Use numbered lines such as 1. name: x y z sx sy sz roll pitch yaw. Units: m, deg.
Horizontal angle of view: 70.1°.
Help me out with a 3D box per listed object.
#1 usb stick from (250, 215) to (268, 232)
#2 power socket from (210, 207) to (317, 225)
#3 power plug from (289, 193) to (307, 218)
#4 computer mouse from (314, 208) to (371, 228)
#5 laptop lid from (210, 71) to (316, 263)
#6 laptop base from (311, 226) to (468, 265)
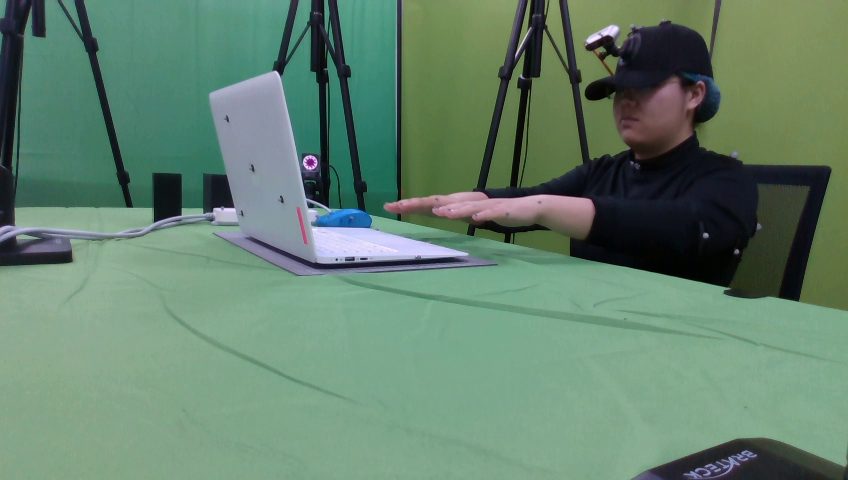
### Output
1. usb stick: -0.291 -0.028 1.069 0.021 0.027 0.059 0 11 -30
2. power socket: -0.335 -0.051 1.281 0.228 0.032 0.072 -1 8 -28
3. power plug: -0.281 -0.076 1.340 0.035 0.052 0.072 4 6 -18
4. computer mouse: -0.173 -0.046 1.284 0.118 0.041 0.062 -7 13 -30
5. laptop lid: -0.241 -0.104 0.861 0.013 0.241 0.355 -16 17 -29
6. laptop base: -0.123 0.007 0.952 0.237 0.023 0.352 2 6 -32
